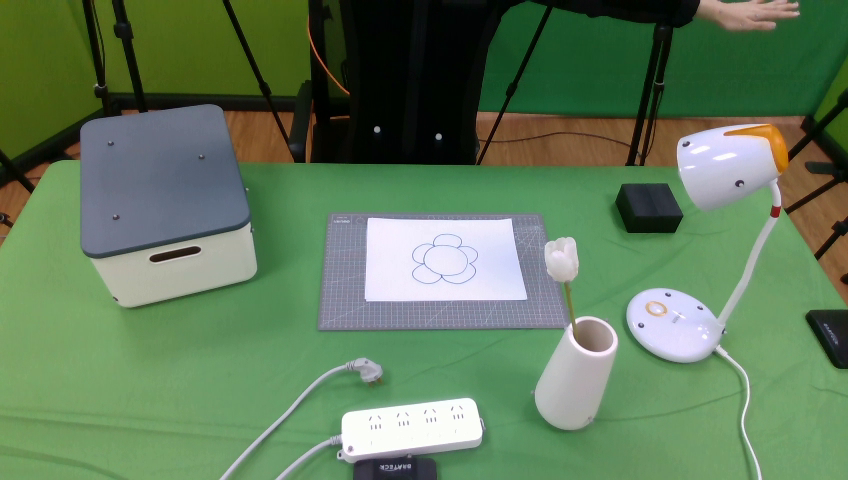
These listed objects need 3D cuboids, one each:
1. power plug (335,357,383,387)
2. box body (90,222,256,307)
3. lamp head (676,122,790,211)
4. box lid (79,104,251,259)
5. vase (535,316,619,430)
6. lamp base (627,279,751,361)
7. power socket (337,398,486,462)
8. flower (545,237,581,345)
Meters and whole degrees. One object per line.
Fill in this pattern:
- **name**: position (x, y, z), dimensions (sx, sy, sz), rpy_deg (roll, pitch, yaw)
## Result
- **power plug**: position (-0.100, 0.213, 0.978), dimensions (0.072, 0.053, 0.035), rpy_deg (-7, 26, 32)
- **box body**: position (-0.471, -0.070, 1.131), dimensions (0.254, 0.161, 0.361), rpy_deg (-14, 49, -17)
- **lamp head**: position (0.423, -0.104, 0.819), dimensions (0.122, 0.113, 0.112), rpy_deg (-13, 33, 40)
- **box lid**: position (-0.467, -0.120, 1.076), dimensions (0.264, 0.015, 0.369), rpy_deg (-13, 49, -17)
- **vase**: position (0.229, 0.200, 0.901), dimensions (0.098, 0.201, 0.097), rpy_deg (3, 46, -3)
- **lamp base**: position (0.460, 0.100, 1.027), dimensions (0.178, 0.181, 0.160), rpy_deg (27, 51, 17)
- **power socket**: position (-0.018, 0.285, 0.914), dimensions (0.227, 0.033, 0.071), rpy_deg (-4, 46, -8)
- **flower**: position (0.213, 0.137, 0.846), dimensions (0.038, 0.364, 0.044), rpy_deg (21, 55, 40)
